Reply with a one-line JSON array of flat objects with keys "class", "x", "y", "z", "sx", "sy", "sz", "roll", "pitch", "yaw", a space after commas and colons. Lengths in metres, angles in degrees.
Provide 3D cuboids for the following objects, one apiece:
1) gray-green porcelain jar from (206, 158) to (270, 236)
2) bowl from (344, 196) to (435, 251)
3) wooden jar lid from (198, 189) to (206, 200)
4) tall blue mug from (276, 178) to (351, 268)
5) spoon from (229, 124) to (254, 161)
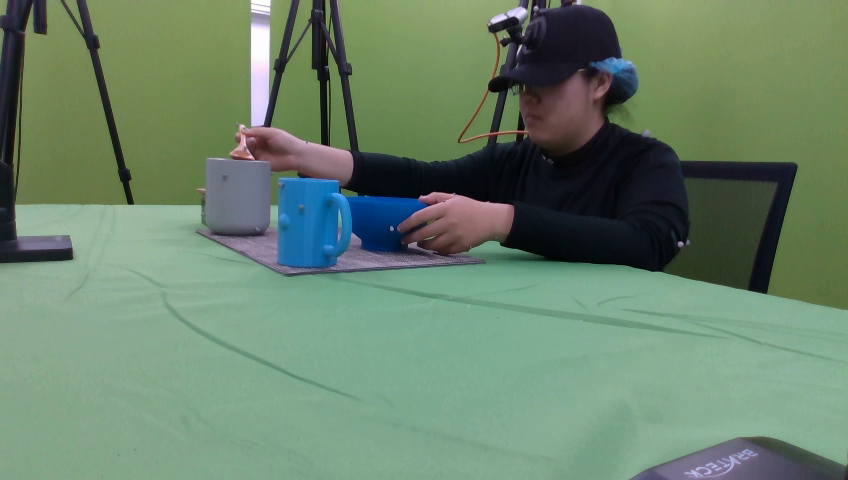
[{"class": "gray-green porcelain jar", "x": -0.317, "y": -0.073, "z": 1.031, "sx": 0.106, "sy": 0.126, "sz": 0.106, "roll": 3, "pitch": 7, "yaw": 0}, {"class": "bowl", "x": -0.061, "y": -0.026, "z": 0.943, "sx": 0.151, "sy": 0.077, "sz": 0.151, "roll": 3, "pitch": 7, "yaw": 0}, {"class": "wooden jar lid", "x": -0.382, "y": -0.088, "z": 1.175, "sx": 0.108, "sy": 0.020, "sz": 0.108, "roll": 3, "pitch": 8, "yaw": 0}, {"class": "tall blue mug", "x": -0.134, "y": -0.022, "z": 0.766, "sx": 0.107, "sy": 0.108, "sz": 0.078, "roll": 4, "pitch": 6, "yaw": 12}, {"class": "spoon", "x": -0.324, "y": -0.177, "z": 1.083, "sx": 0.042, "sy": 0.021, "sz": 0.193, "roll": 8, "pitch": 29, "yaw": -19}]
